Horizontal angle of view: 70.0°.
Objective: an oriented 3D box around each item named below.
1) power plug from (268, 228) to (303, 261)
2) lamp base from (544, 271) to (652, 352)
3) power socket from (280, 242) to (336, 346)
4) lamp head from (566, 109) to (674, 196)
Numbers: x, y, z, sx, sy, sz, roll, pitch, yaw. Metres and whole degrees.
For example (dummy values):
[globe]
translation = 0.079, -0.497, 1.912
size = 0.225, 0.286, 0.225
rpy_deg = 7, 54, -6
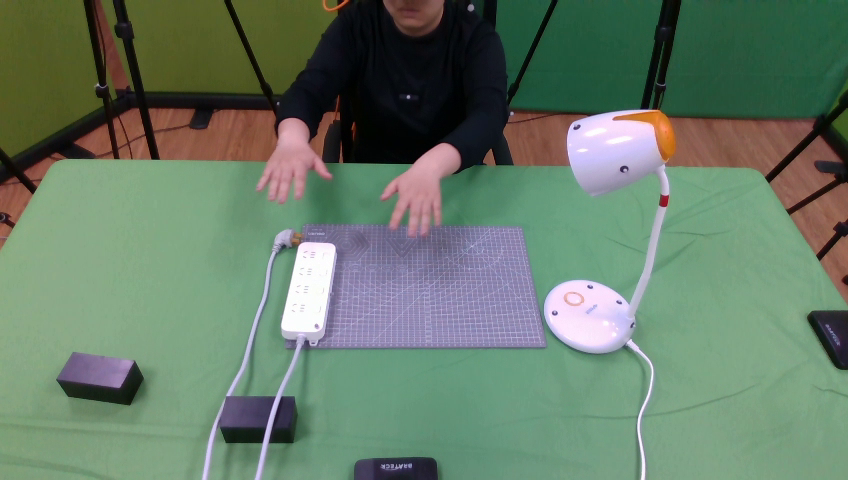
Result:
[power plug]
translation = -0.265, 0.012, 1.172
size = 0.052, 0.035, 0.072
rpy_deg = 10, 81, 9
[lamp base]
translation = 0.309, 0.086, 1.029
size = 0.178, 0.181, 0.160
rpy_deg = 32, 52, 21
[power socket]
translation = -0.206, 0.087, 1.087
size = 0.072, 0.033, 0.225
rpy_deg = 3, 46, -1
[lamp head]
translation = 0.272, -0.123, 0.818
size = 0.122, 0.113, 0.112
rpy_deg = -9, 35, 37
